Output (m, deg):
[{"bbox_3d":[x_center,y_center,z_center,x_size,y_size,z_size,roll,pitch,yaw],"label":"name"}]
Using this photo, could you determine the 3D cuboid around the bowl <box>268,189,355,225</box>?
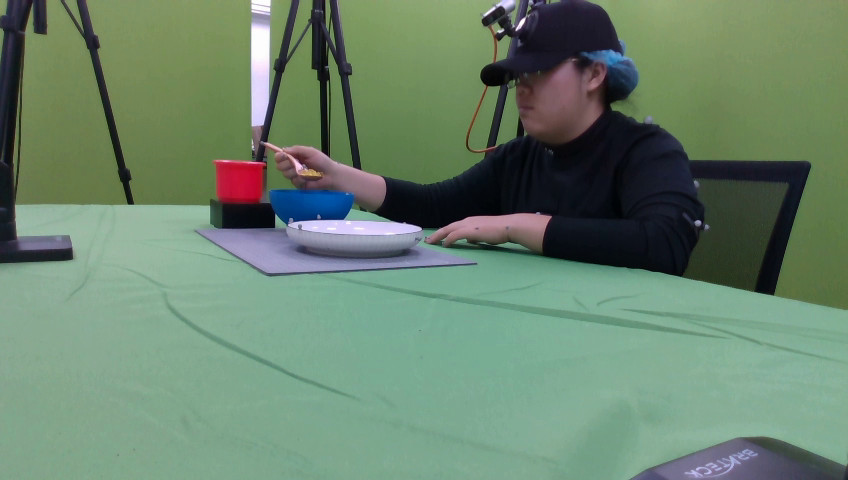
[{"bbox_3d":[-0.201,-0.049,1.078,0.151,0.077,0.151,3,8,0],"label":"bowl"}]

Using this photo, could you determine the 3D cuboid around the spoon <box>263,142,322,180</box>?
[{"bbox_3d":[-0.247,-0.149,1.118,0.042,0.021,0.192,-3,31,-42],"label":"spoon"}]

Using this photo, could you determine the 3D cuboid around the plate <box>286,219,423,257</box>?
[{"bbox_3d":[-0.105,-0.004,0.922,0.208,0.039,0.207,3,8,0],"label":"plate"}]
